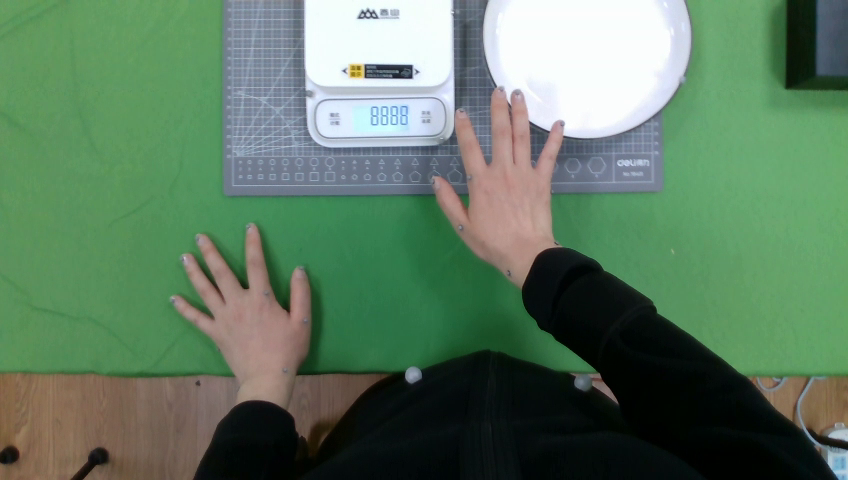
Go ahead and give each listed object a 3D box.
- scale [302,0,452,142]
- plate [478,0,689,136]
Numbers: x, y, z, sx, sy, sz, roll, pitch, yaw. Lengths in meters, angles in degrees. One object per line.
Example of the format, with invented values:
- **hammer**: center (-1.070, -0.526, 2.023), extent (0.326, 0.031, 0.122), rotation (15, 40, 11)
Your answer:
- **scale**: center (-0.048, -0.201, 0.608), extent (0.149, 0.031, 0.200), rotation (-1, 90, -1)
- **plate**: center (0.156, -0.205, 0.608), extent (0.209, 0.038, 0.209), rotation (0, 89, -1)
